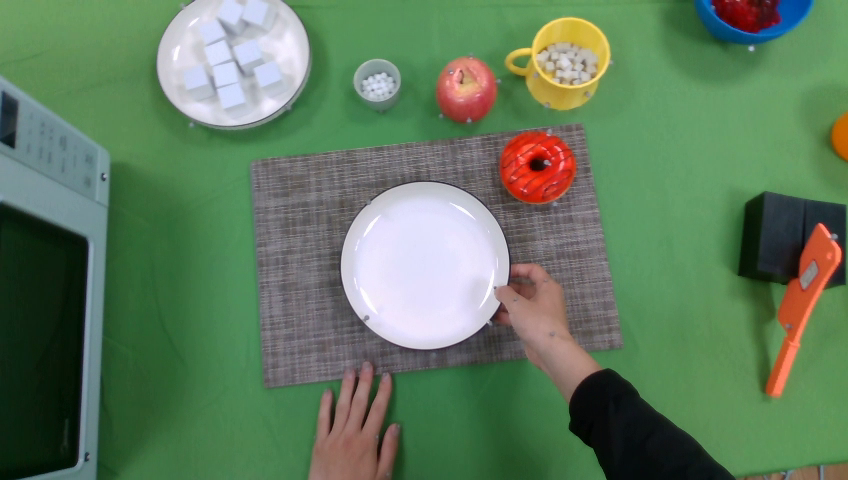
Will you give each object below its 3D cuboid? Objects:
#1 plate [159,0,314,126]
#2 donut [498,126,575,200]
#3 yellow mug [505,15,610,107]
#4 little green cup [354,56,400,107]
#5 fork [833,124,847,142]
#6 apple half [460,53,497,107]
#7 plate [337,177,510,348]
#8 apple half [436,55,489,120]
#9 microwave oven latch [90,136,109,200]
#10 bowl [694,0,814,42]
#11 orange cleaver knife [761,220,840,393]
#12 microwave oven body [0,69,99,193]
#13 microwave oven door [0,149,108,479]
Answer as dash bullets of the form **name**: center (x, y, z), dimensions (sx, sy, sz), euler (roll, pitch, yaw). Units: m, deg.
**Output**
- **plate**: center (-0.251, -0.249, 0.828), dimensions (0.208, 0.039, 0.206), euler (0, 78, 1)
- **donut**: center (0.145, -0.100, 0.783), dimensions (0.099, 0.048, 0.098), euler (0, 79, 3)
- **yellow mug**: center (0.173, -0.237, 0.804), dimensions (0.131, 0.064, 0.099), euler (4, 78, 3)
- **little green cup**: center (-0.061, -0.211, 0.817), dimensions (0.061, 0.039, 0.061), euler (0, 78, 1)
- **fork**: center (0.620, -0.150, 0.735), dimensions (0.206, 0.019, 0.028), euler (-9, 70, 44)
- **apple half**: center (0.076, -0.213, 0.796), dimensions (0.033, 0.081, 0.081), euler (-33, 79, -1)
- **plate**: center (0.000, 0.027, 0.742), dimensions (0.209, 0.038, 0.208), euler (0, 81, 3)
- **apple half**: center (0.044, -0.192, 0.794), dimensions (0.053, 0.075, 0.080), euler (-33, 83, -1)
- **microwave oven latch**: center (-0.425, -0.092, 0.779), dimensions (0.030, 0.029, 0.079), euler (-2, 79, 0)
- **bowl**: center (0.427, -0.323, 0.811), dimensions (0.151, 0.077, 0.150), euler (0, 78, 2)
- **orange cleaver knife**: center (0.440, 0.081, 0.721), dimensions (0.012, 0.077, 0.212), euler (13, 110, 6)
- **microwave oven body**: center (-0.566, 0.068, 0.649), dimensions (0.326, 0.261, 0.439), euler (-3, 79, 0)
- **microwave oven door**: center (-0.417, 0.100, 0.635), dimensions (0.039, 0.245, 0.354), euler (-4, 78, 1)
